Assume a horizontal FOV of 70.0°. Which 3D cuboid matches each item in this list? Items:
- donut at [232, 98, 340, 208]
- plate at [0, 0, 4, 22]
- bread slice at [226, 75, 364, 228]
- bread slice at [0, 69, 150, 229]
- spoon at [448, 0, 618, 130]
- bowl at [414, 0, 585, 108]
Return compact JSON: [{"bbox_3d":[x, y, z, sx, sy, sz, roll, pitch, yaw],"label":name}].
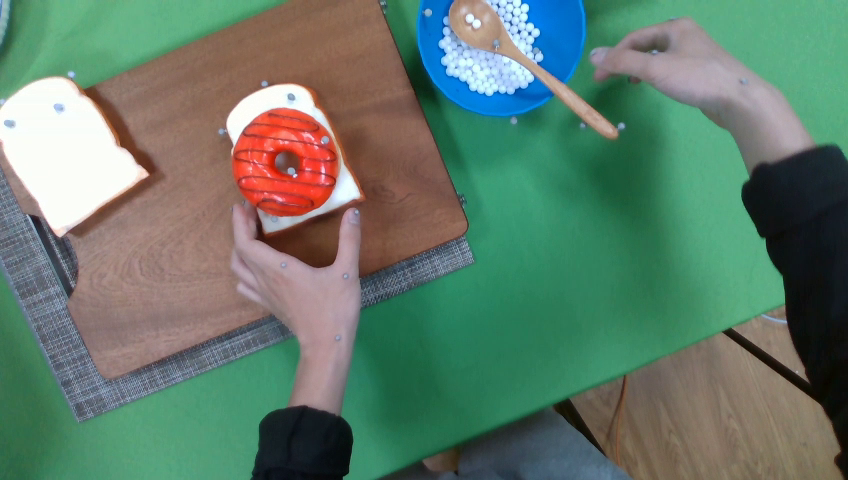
[{"bbox_3d":[-0.125,-0.078,0.552,0.099,0.048,0.099,0,97,-1],"label":"donut"},{"bbox_3d":[-0.502,-0.244,0.579,0.208,0.039,0.208,0,96,0],"label":"plate"},{"bbox_3d":[-0.132,-0.088,0.581,0.105,0.019,0.132,-23,97,1],"label":"bread slice"},{"bbox_3d":[-0.343,-0.091,0.577,0.107,0.018,0.134,-36,94,3],"label":"bread slice"},{"bbox_3d":[0.096,-0.161,0.542,0.192,0.022,0.041,44,98,13],"label":"spoon"},{"bbox_3d":[0.067,-0.195,0.569,0.151,0.076,0.151,0,96,-1],"label":"bowl"}]
